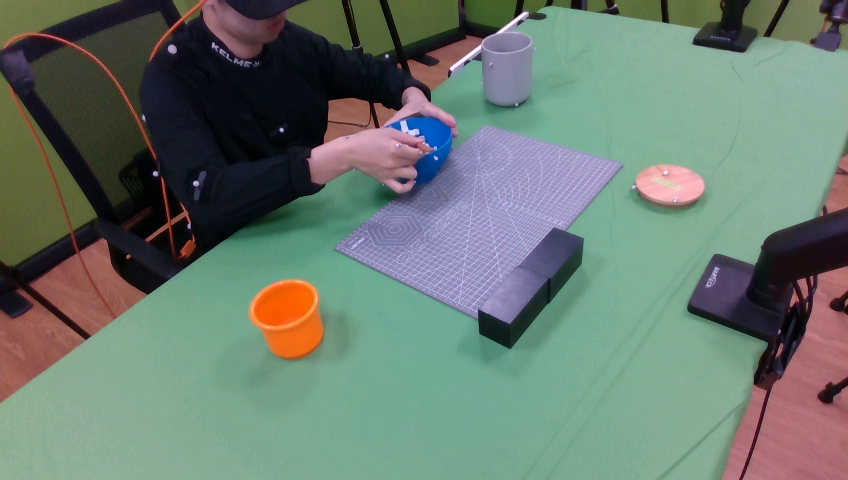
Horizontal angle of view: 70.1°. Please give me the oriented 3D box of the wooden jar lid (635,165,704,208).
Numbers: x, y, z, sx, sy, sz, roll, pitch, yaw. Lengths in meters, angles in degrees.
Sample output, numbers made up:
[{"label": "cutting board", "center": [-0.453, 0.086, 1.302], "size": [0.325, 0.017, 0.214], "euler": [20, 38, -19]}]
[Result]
[{"label": "wooden jar lid", "center": [0.410, -0.089, 1.014], "size": [0.108, 0.021, 0.108], "euler": [-5, 42, 5]}]

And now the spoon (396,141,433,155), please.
[{"label": "spoon", "center": [-0.015, -0.159, 1.038], "size": [0.042, 0.021, 0.193], "euler": [-6, 10, -12]}]

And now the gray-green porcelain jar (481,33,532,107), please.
[{"label": "gray-green porcelain jar", "center": [0.175, -0.355, 1.278], "size": [0.106, 0.127, 0.105], "euler": [-4, 41, 4]}]

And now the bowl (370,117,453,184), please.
[{"label": "bowl", "center": [-0.018, -0.155, 1.106], "size": [0.151, 0.077, 0.150], "euler": [-6, 39, 5]}]
